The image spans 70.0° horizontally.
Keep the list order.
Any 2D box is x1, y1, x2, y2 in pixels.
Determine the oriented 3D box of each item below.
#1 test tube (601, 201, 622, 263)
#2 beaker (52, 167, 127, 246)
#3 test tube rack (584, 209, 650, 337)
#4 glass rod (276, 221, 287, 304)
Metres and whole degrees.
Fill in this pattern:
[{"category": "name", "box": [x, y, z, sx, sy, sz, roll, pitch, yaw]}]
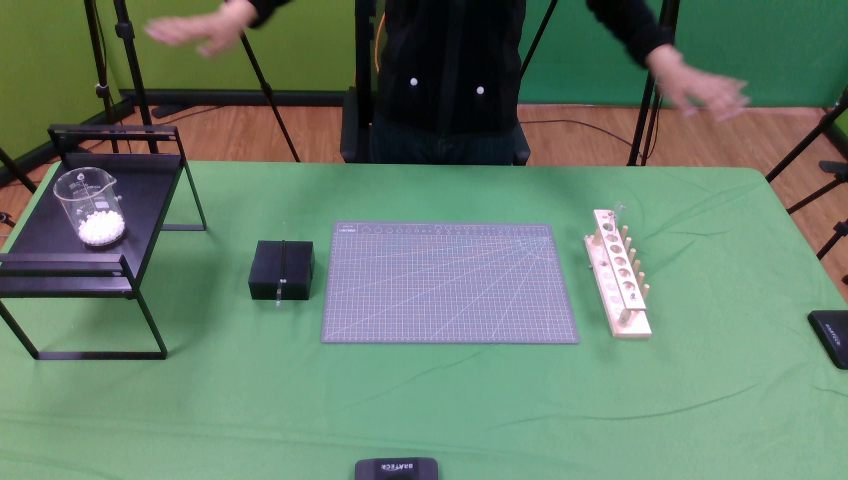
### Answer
[{"category": "test tube", "box": [0.346, -0.012, 1.123, 0.017, 0.151, 0.017, -2, 45, 2]}, {"category": "beaker", "box": [-0.490, -0.048, 0.902, 0.084, 0.101, 0.073, -15, 49, -18]}, {"category": "test tube rack", "box": [0.365, 0.056, 1.129, 0.067, 0.085, 0.240, 1, 46, -4]}, {"category": "glass rod", "box": [-0.255, 0.036, 1.086, 0.008, 0.008, 0.198, -2, 46, -6]}]
